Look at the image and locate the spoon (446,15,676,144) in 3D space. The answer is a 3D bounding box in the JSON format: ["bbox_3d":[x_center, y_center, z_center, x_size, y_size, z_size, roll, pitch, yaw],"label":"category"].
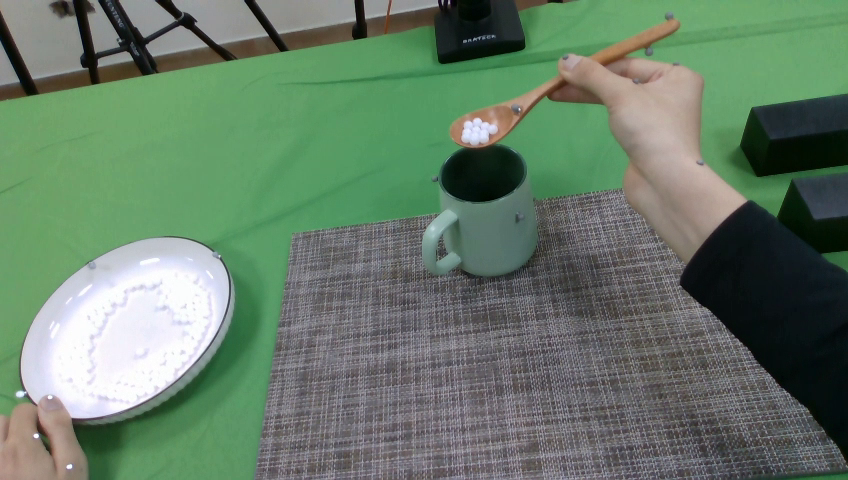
[{"bbox_3d":[0.106,-0.127,0.477,0.193,0.022,0.041,-27,54,13],"label":"spoon"}]

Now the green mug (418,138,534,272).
[{"bbox_3d":[0.044,-0.020,0.561,0.125,0.106,0.091,-41,55,-21],"label":"green mug"}]

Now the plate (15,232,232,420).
[{"bbox_3d":[-0.285,0.082,0.594,0.209,0.038,0.207,-6,50,7],"label":"plate"}]
